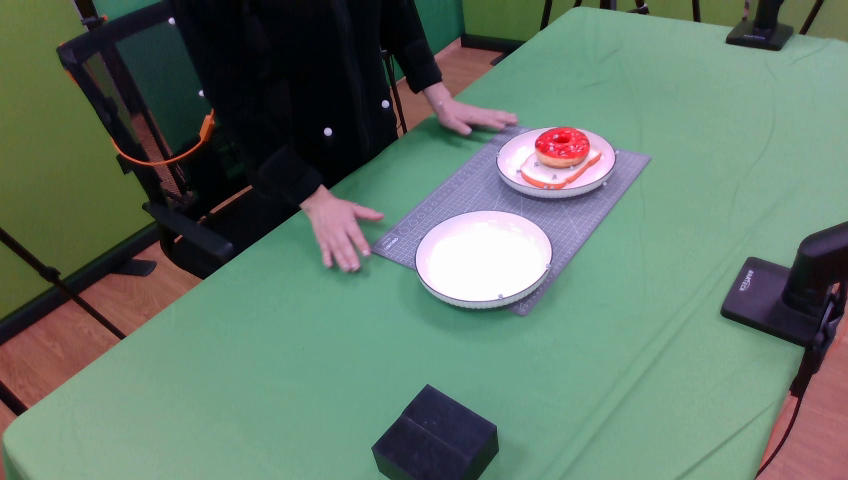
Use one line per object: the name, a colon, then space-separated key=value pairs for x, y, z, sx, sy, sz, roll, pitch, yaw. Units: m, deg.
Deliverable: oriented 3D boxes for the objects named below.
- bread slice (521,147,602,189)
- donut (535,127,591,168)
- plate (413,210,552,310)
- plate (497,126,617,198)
bread slice: x=0.242 y=-0.137 z=1.085 sx=0.106 sy=0.018 sz=0.134 roll=23 pitch=51 yaw=34
donut: x=0.247 y=-0.165 z=1.073 sx=0.099 sy=0.048 sz=0.098 roll=-5 pitch=39 yaw=5
plate: x=0.088 y=0.033 z=0.914 sx=0.207 sy=0.039 sz=0.206 roll=-5 pitch=40 yaw=5
plate: x=0.236 y=-0.136 z=1.085 sx=0.209 sy=0.038 sz=0.208 roll=-5 pitch=40 yaw=5
